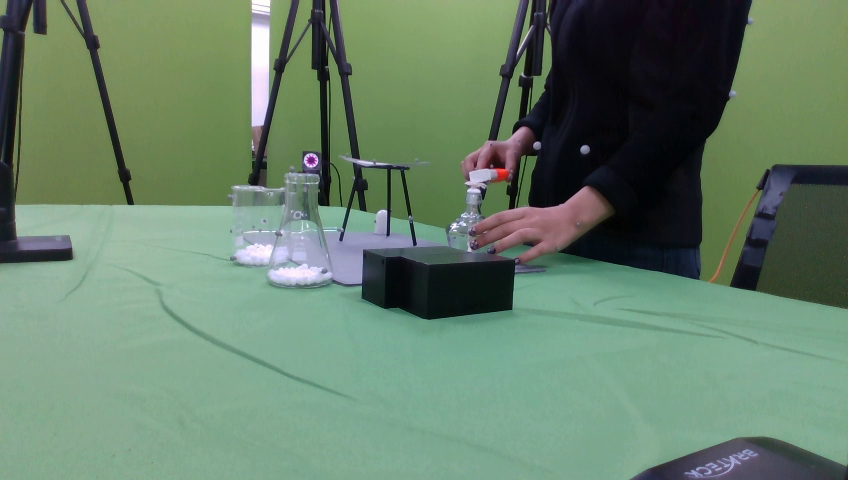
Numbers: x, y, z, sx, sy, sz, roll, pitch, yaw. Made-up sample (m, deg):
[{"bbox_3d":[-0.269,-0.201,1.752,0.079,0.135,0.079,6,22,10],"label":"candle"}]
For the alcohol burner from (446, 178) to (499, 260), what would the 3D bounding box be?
[{"bbox_3d":[0.071,-0.030,0.875,0.078,0.119,0.078,4,6,0],"label":"alcohol burner"}]

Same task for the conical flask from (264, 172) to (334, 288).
[{"bbox_3d":[-0.135,-0.013,0.660,0.075,0.122,0.075,2,7,0],"label":"conical flask"}]

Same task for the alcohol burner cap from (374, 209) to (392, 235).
[{"bbox_3d":[-0.078,-0.036,1.148,0.034,0.048,0.034,2,7,0],"label":"alcohol burner cap"}]

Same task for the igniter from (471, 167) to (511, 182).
[{"bbox_3d":[0.114,-0.111,1.015,0.057,0.025,0.277,-8,4,14],"label":"igniter"}]

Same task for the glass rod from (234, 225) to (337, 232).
[{"bbox_3d":[-0.256,-0.022,1.136,0.201,0.008,0.008,-3,8,-33],"label":"glass rod"}]

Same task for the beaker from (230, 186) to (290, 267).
[{"bbox_3d":[-0.209,-0.019,0.778,0.074,0.100,0.084,3,6,4],"label":"beaker"}]

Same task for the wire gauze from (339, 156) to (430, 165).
[{"bbox_3d":[-0.067,-0.132,1.022,0.122,0.011,0.124,-1,9,-31],"label":"wire gauze"}]

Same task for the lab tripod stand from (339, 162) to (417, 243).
[{"bbox_3d":[-0.067,-0.065,1.027,0.148,0.131,0.148,4,7,0],"label":"lab tripod stand"}]
